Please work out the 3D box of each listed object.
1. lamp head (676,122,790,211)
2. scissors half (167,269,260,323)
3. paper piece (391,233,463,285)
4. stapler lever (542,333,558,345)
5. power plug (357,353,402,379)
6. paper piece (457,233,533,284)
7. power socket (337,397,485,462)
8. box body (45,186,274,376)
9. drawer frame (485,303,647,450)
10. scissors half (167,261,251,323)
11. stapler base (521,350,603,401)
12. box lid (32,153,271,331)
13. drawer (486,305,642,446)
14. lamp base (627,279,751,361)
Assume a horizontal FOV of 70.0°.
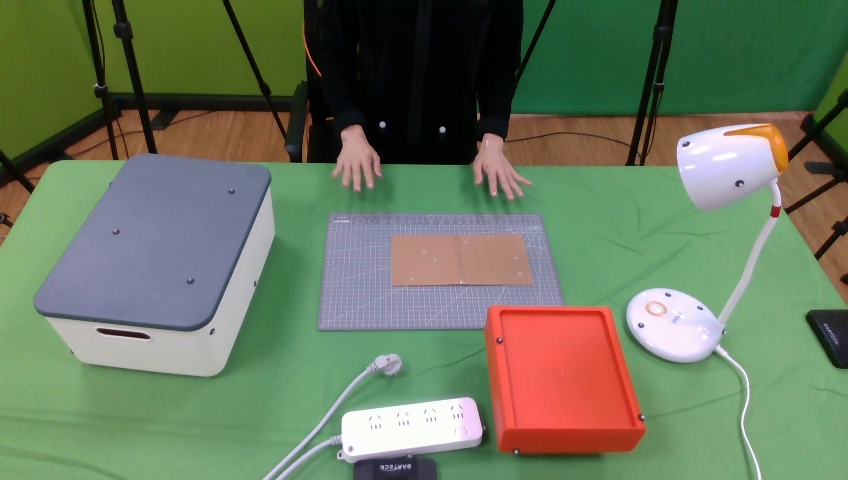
[{"bbox_3d":[0.423,-0.104,0.819,0.122,0.113,0.112,-13,33,40],"label":"lamp head"},{"bbox_3d":[-0.369,0.101,1.069,0.175,0.013,0.040,-28,52,-22],"label":"scissors half"},{"bbox_3d":[0.004,0.035,1.170,0.135,0.004,0.135,1,46,-4],"label":"paper piece"},{"bbox_3d":[0.225,0.181,0.928,0.118,0.040,0.027,27,34,15],"label":"stapler lever"},{"bbox_3d":[-0.070,0.207,0.983,0.072,0.053,0.035,-20,51,4],"label":"power plug"},{"bbox_3d":[0.136,0.035,1.182,0.136,0.009,0.137,3,45,-7],"label":"paper piece"},{"bbox_3d":[-0.018,0.285,0.915,0.227,0.033,0.071,-4,46,-8],"label":"power socket"},{"bbox_3d":[-0.421,0.037,1.031,0.254,0.161,0.362,6,46,1],"label":"box body"},{"bbox_3d":[0.204,0.202,0.917,0.202,0.083,0.212,1,47,-4],"label":"drawer frame"},{"bbox_3d":[-0.383,0.091,1.080,0.040,0.013,0.175,25,52,30],"label":"scissors half"},{"bbox_3d":[0.217,0.203,0.942,0.130,0.024,0.041,26,33,16],"label":"stapler base"},{"bbox_3d":[-0.417,-0.015,0.980,0.263,0.015,0.369,6,46,1],"label":"box lid"},{"bbox_3d":[0.202,0.200,0.919,0.195,0.073,0.210,2,47,-4],"label":"drawer"},{"bbox_3d":[0.460,0.100,1.027,0.178,0.181,0.160,27,51,17],"label":"lamp base"}]
